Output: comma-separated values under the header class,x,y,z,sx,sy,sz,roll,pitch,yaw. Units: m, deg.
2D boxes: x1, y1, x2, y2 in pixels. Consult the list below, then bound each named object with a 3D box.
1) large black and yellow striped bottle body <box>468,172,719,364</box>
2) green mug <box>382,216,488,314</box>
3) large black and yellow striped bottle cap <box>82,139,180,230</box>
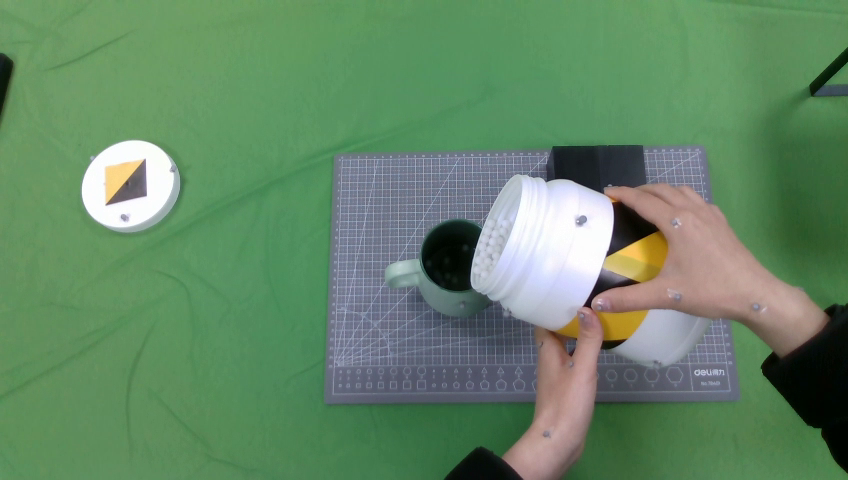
class,x,y,z,sx,sy,sz,roll,pitch,yaw
large black and yellow striped bottle body,0.144,0.022,0.539,0.184,0.131,0.130,21,75,-8
green mug,0.017,0.030,0.648,0.125,0.105,0.092,-8,74,0
large black and yellow striped bottle cap,-0.357,-0.069,0.738,0.115,0.019,0.114,-1,73,2
